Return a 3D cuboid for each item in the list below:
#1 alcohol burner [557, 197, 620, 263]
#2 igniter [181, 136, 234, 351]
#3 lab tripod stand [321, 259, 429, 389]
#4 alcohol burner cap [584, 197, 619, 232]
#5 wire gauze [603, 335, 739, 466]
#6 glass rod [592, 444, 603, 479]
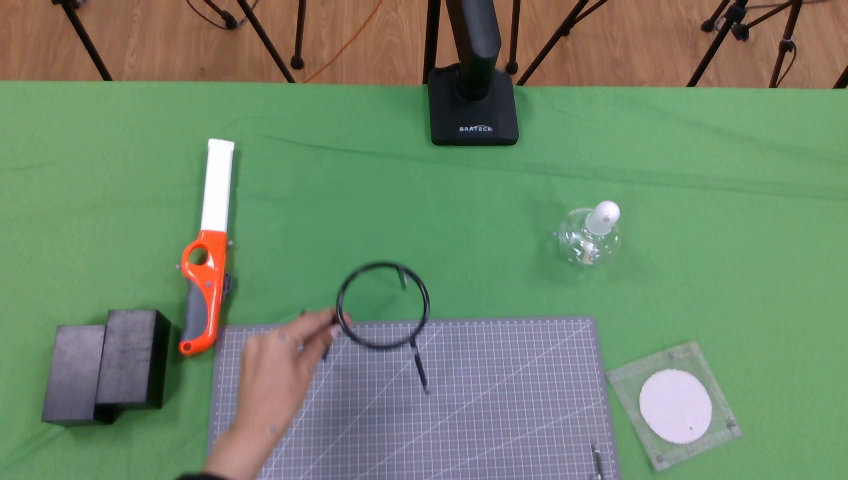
[{"bbox_3d":[0.205,-0.018,0.733,0.078,0.120,0.077,2,65,-4],"label":"alcohol burner"},{"bbox_3d":[-0.257,-0.002,0.730,0.057,0.025,0.274,6,66,-19],"label":"igniter"},{"bbox_3d":[-0.043,0.083,0.634,0.148,0.132,0.147,1,63,-1],"label":"lab tripod stand"},{"bbox_3d":[0.208,-0.032,0.700,0.034,0.048,0.033,1,71,-2],"label":"alcohol burner cap"},{"bbox_3d":[0.293,0.187,0.714,0.125,0.011,0.120,-18,70,-10],"label":"wire gauze"},{"bbox_3d":[0.198,0.322,0.646,0.008,0.008,0.198,-1,67,-6],"label":"glass rod"}]
